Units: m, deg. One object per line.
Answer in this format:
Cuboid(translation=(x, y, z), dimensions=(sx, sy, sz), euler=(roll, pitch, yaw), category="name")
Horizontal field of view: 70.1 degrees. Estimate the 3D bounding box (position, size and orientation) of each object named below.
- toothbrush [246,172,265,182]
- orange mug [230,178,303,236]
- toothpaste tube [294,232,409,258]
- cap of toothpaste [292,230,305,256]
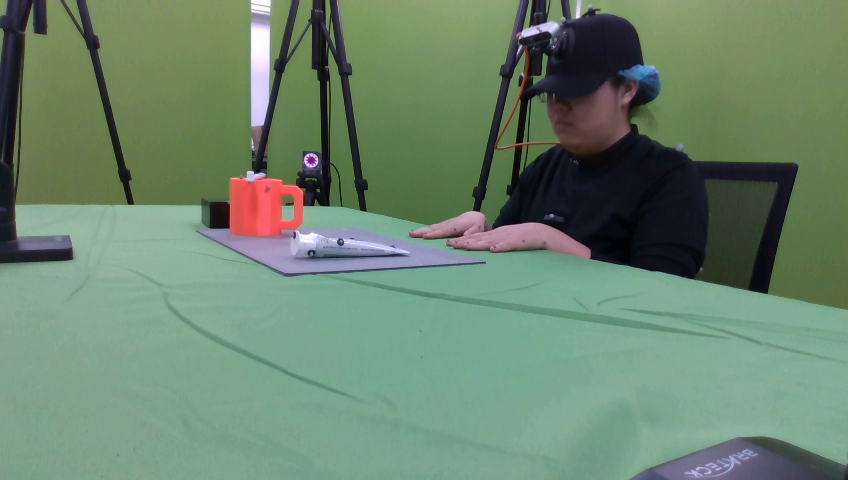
Cuboid(translation=(-0.292, -0.112, 1.051), dimensions=(0.014, 0.016, 0.181), euler=(-4, 8, -8), category="toothbrush")
Cuboid(translation=(-0.275, -0.060, 1.058), dimensions=(0.126, 0.101, 0.083), euler=(-2, 8, -5), category="orange mug")
Cuboid(translation=(-0.102, 0.010, 0.853), dimensions=(0.166, 0.034, 0.055), euler=(3, 10, -34), category="toothpaste tube")
Cuboid(translation=(-0.169, 0.005, 0.812), dimensions=(0.011, 0.037, 0.037), euler=(6, 4, -30), category="cap of toothpaste")
